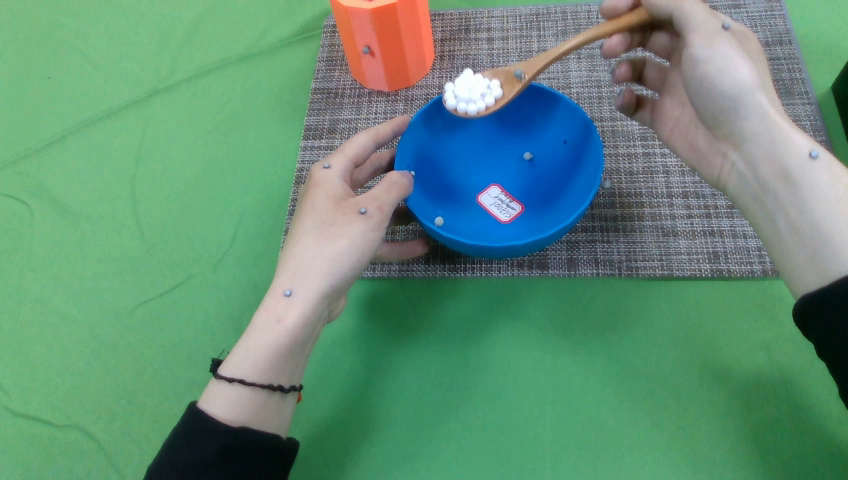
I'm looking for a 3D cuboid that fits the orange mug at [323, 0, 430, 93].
[{"bbox_3d":[-0.038,-0.216,0.563,0.083,0.101,0.125,11,67,13],"label":"orange mug"}]

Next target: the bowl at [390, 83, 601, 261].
[{"bbox_3d":[0.054,-0.041,0.466,0.151,0.077,0.150,-3,61,5],"label":"bowl"}]

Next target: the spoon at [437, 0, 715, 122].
[{"bbox_3d":[0.100,-0.127,0.410,0.193,0.022,0.041,-19,73,19],"label":"spoon"}]
